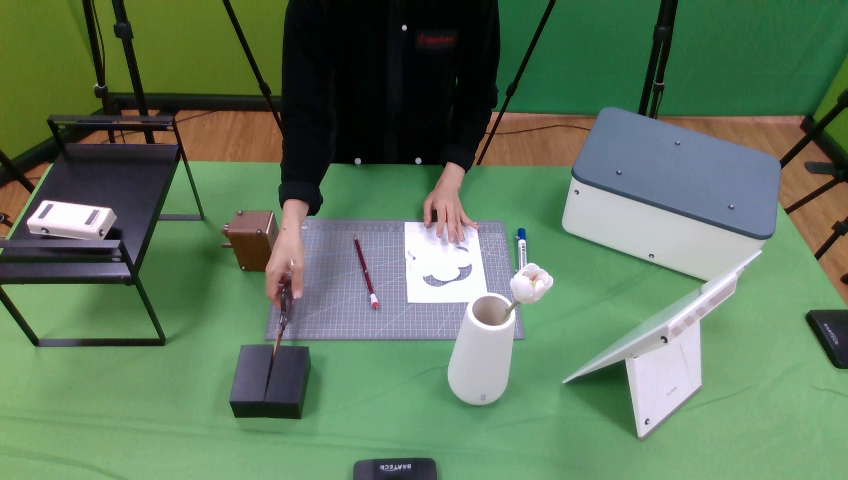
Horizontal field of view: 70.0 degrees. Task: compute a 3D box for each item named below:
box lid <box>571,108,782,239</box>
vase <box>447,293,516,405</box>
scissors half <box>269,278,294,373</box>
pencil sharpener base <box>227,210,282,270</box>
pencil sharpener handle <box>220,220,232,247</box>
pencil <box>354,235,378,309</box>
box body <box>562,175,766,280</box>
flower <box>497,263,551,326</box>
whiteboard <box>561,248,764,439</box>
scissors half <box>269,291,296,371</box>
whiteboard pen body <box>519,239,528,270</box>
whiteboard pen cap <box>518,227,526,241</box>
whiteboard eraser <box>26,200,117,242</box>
[{"bbox_3d":[0.491,-0.139,1.168,0.370,0.015,0.262,21,49,15],"label":"box lid"},{"bbox_3d":[0.091,0.169,0.921,0.098,0.201,0.097,3,47,-3],"label":"vase"},{"bbox_3d":[-0.236,0.137,0.994,0.013,0.040,0.174,0,56,4],"label":"scissors half"},{"bbox_3d":[-0.311,0.001,1.112,0.077,0.107,0.061,0,47,1],"label":"pencil sharpener base"},{"bbox_3d":[-0.362,-0.009,1.105,0.030,0.068,0.036,0,52,1],"label":"pencil sharpener handle"},{"bbox_3d":[-0.113,0.055,1.143,0.012,0.012,0.192,-10,46,-13],"label":"pencil"},{"bbox_3d":[0.486,-0.088,1.222,0.363,0.161,0.253,20,48,15],"label":"box body"},{"bbox_3d":[0.102,0.121,0.852,0.044,0.363,0.038,-1,64,-10],"label":"flower"},{"bbox_3d":[0.386,0.176,0.905,0.217,0.306,0.143,-26,72,-27],"label":"whiteboard"},{"bbox_3d":[-0.237,0.151,1.009,0.013,0.040,0.174,4,38,1],"label":"scissors half"},{"bbox_3d":[0.193,0.035,1.181,0.017,0.017,0.140,6,48,1],"label":"whiteboard pen body"},{"bbox_3d":[0.197,-0.009,1.220,0.018,0.018,0.033,5,50,1],"label":"whiteboard pen cap"},{"bbox_3d":[-0.532,-0.026,0.919,0.113,0.042,0.055,7,45,3],"label":"whiteboard eraser"}]
